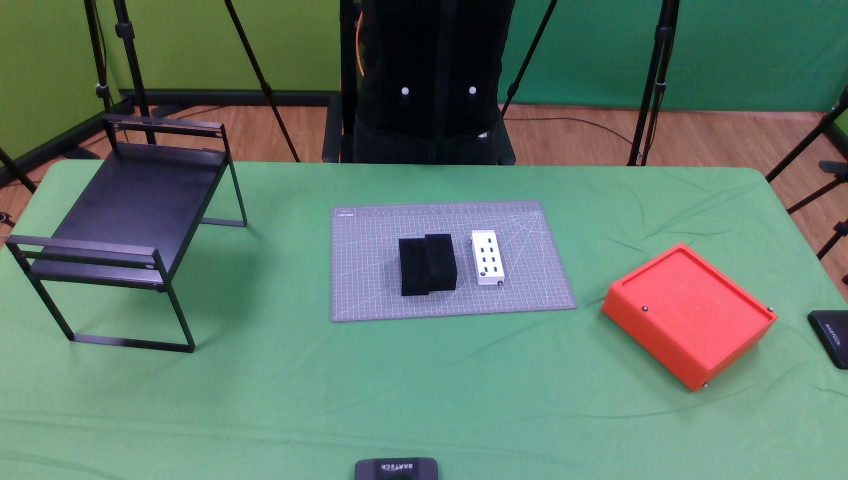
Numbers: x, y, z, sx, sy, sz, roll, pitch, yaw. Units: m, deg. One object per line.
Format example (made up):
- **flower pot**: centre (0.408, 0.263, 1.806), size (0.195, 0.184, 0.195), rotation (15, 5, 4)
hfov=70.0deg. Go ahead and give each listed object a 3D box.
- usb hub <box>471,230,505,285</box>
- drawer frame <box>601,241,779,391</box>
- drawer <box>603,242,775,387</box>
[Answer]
- **usb hub**: centre (0.121, 0.032, 1.168), size (0.049, 0.025, 0.124), rotation (-2, 46, -5)
- **drawer frame**: centre (0.462, 0.125, 1.066), size (0.202, 0.083, 0.212), rotation (-26, 54, -26)
- **drawer**: centre (0.462, 0.125, 1.068), size (0.194, 0.073, 0.210), rotation (-25, 53, -26)
